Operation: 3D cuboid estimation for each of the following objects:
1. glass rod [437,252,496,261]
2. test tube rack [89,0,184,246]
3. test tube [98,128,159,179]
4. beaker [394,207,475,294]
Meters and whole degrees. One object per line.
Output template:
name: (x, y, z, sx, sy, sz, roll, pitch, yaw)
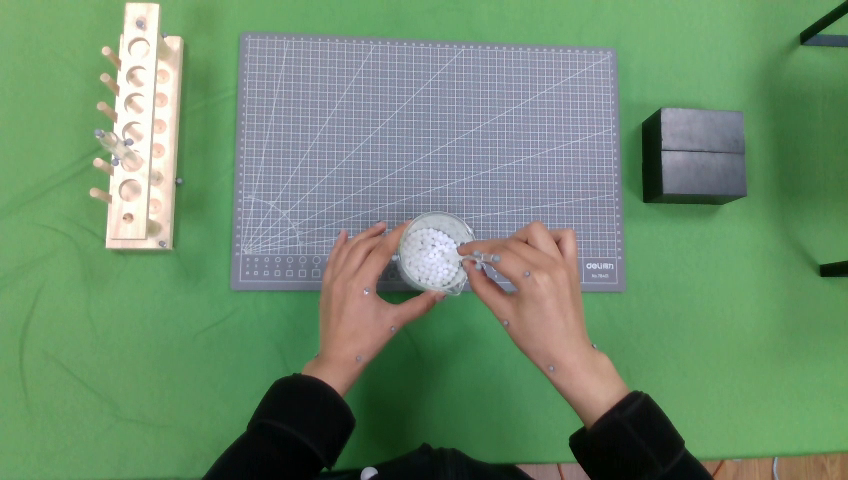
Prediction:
glass rod: (0.033, 0.015, 0.545, 0.008, 0.199, 0.008, 0, 88, -10)
test tube rack: (-0.306, -0.118, 0.638, 0.067, 0.085, 0.241, 1, 83, -5)
test tube: (-0.282, -0.080, 0.585, 0.017, 0.150, 0.017, 1, 84, -11)
beaker: (0.008, 0.016, 0.605, 0.074, 0.100, 0.084, -24, 87, -8)
